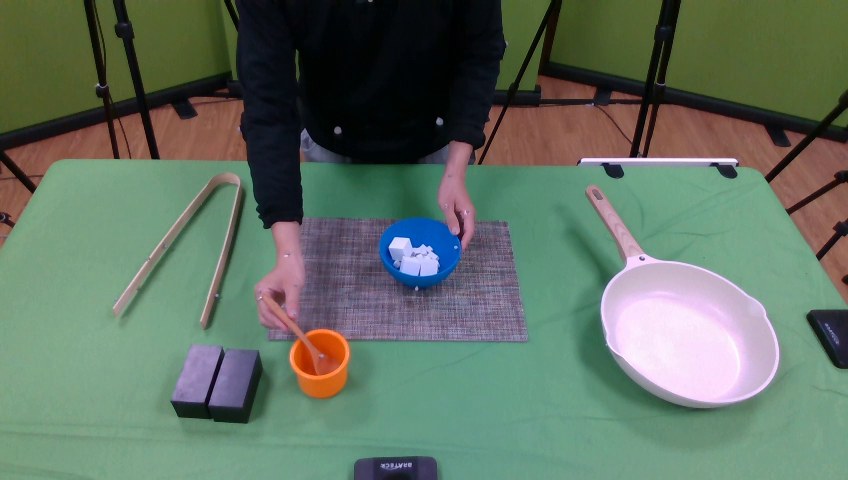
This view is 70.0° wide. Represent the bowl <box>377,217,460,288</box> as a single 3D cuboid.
[{"bbox_3d":[-0.011,0.036,1.118,0.151,0.077,0.150,2,46,-2],"label":"bowl"}]

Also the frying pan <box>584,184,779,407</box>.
[{"bbox_3d":[0.412,0.079,1.097,0.307,0.103,0.484,-10,56,-15],"label":"frying pan"}]

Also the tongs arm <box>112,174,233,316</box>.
[{"bbox_3d":[-0.467,-0.005,1.157,0.051,0.026,0.383,11,45,4],"label":"tongs arm"}]

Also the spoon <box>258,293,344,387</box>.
[{"bbox_3d":[-0.191,0.155,0.946,0.021,0.194,0.041,-19,23,44],"label":"spoon"}]

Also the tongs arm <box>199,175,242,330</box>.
[{"bbox_3d":[-0.387,0.008,1.158,0.028,0.028,0.385,-1,46,-3],"label":"tongs arm"}]
